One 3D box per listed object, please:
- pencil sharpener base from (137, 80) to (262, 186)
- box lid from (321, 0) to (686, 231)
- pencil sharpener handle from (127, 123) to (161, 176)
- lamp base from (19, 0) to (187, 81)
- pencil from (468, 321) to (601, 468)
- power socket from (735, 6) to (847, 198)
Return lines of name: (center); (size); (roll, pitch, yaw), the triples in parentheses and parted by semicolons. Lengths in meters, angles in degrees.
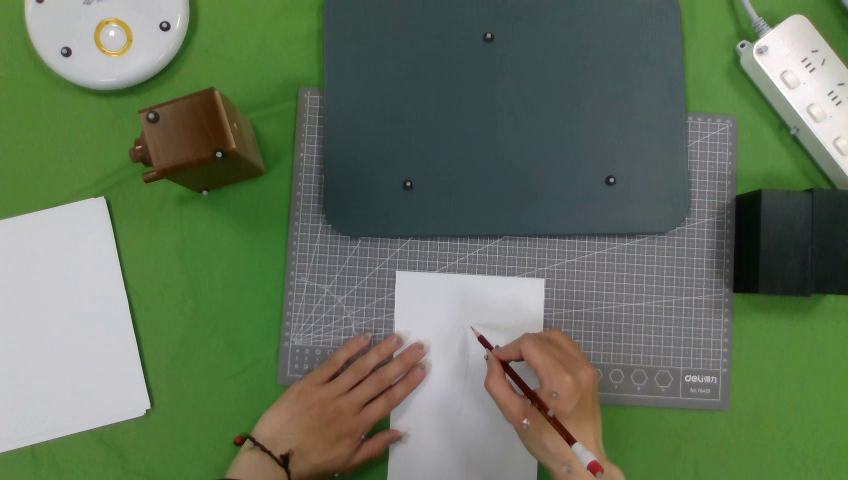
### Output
pencil sharpener base: (-0.204, -0.094, 0.557); (0.077, 0.107, 0.061); (-18, 87, -2)
box lid: (0.082, -0.141, 0.615); (0.372, 0.015, 0.263); (-1, 87, -1)
pencil sharpener handle: (-0.251, -0.076, 0.543); (0.030, 0.068, 0.036); (-18, 75, -2)
lamp base: (-0.322, -0.252, 0.525); (0.160, 0.180, 0.179); (-28, 85, -3)
pencil: (0.086, 0.124, 0.523); (0.012, 0.192, 0.012); (-15, 124, -23)
power socket: (0.410, -0.135, 0.613); (0.072, 0.032, 0.226); (-37, 88, -3)
